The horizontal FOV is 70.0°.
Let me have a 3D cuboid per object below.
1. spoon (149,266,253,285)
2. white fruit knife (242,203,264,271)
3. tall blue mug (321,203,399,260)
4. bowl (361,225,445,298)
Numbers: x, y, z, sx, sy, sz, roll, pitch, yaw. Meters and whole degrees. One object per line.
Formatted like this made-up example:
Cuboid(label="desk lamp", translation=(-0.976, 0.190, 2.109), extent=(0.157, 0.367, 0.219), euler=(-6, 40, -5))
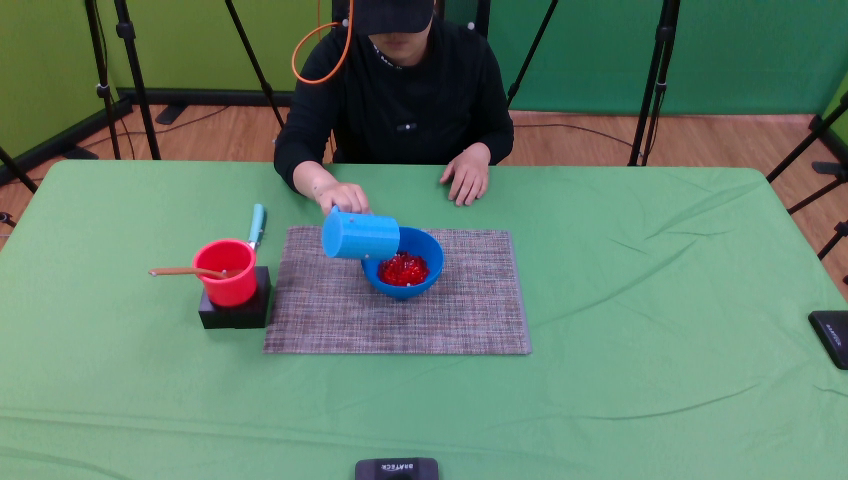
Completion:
Cuboid(label="spoon", translation=(-0.351, 0.052, 0.968), extent=(0.041, 0.021, 0.194), euler=(41, 13, 28))
Cuboid(label="white fruit knife", translation=(-0.334, 0.001, 1.178), extent=(0.027, 0.016, 0.206), euler=(-18, 46, 16))
Cuboid(label="tall blue mug", translation=(-0.109, -0.022, 1.013), extent=(0.108, 0.078, 0.107), euler=(3, 72, -34))
Cuboid(label="bowl", translation=(-0.040, 0.053, 1.099), extent=(0.151, 0.077, 0.150), euler=(2, 46, -2))
